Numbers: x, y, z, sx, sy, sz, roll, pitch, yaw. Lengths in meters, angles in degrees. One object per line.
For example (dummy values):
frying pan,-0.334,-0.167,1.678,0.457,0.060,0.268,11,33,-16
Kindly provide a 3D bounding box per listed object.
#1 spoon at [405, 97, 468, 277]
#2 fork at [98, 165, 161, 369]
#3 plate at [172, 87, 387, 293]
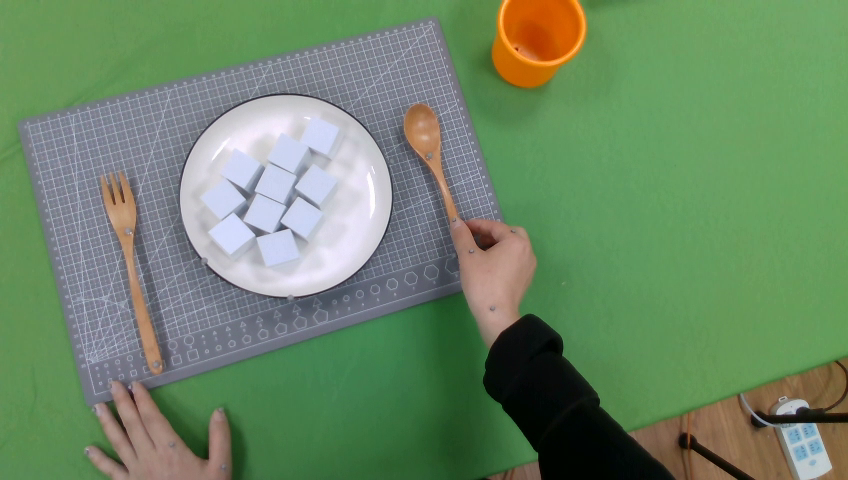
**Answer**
spoon,0.016,-0.055,0.635,0.041,0.022,0.193,-14,84,13
fork,-0.288,0.026,0.598,0.028,0.018,0.206,-14,82,-13
plate,-0.142,-0.049,0.613,0.208,0.039,0.207,1,83,-6
